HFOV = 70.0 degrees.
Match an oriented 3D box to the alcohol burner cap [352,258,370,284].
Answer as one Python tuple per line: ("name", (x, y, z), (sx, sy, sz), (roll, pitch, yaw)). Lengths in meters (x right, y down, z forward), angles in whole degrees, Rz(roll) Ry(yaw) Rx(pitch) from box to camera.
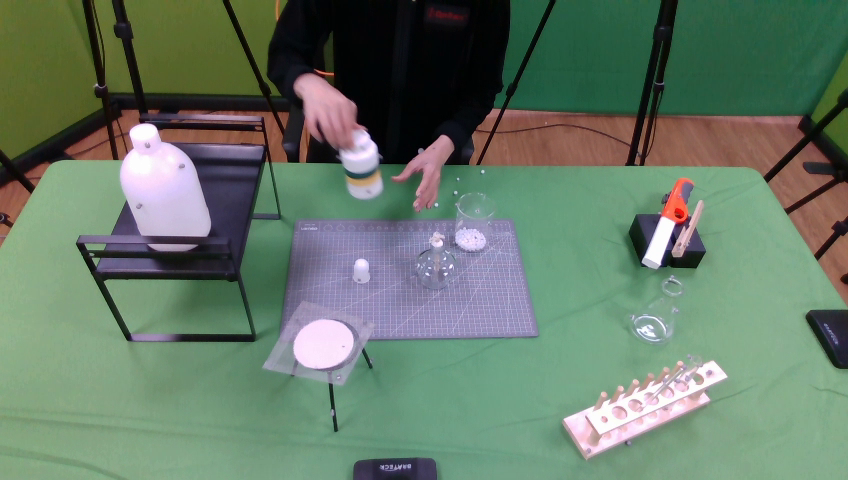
("alcohol burner cap", (-0.117, 0.055, 1.118), (0.034, 0.048, 0.033), (2, 46, -2))

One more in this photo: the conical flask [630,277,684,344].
("conical flask", (0.408, 0.117, 1.045), (0.075, 0.122, 0.075), (2, 46, -2))

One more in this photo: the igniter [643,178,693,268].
("igniter", (0.488, -0.042, 1.205), (0.057, 0.025, 0.276), (30, 51, 11))

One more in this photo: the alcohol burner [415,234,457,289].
("alcohol burner", (0.022, 0.033, 1.099), (0.078, 0.120, 0.077), (1, 47, -1))

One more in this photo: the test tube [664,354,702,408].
("test tube", (0.385, 0.215, 0.906), (0.017, 0.151, 0.017), (-1, 49, 1))

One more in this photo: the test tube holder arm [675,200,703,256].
("test tube holder arm", (0.523, -0.025, 1.190), (0.013, 0.015, 0.178), (1, 36, 41))

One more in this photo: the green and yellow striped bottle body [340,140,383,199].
("green and yellow striped bottle body", (-0.111, -0.134, 1.071), (0.063, 0.120, 0.063), (-3, 48, 3))

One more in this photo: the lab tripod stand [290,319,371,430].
("lab tripod stand", (-0.146, 0.193, 0.923), (0.148, 0.132, 0.147), (1, 47, -1))

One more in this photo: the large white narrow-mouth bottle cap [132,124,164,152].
("large white narrow-mouth bottle cap", (-0.371, -0.137, 0.813), (0.038, 0.024, 0.037), (3, 46, -3))

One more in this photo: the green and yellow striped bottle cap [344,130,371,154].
("green and yellow striped bottle cap", (-0.114, -0.168, 1.031), (0.045, 0.020, 0.045), (-3, 47, 3))

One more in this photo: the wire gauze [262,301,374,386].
("wire gauze", (-0.150, 0.148, 0.873), (0.121, 0.011, 0.124), (14, 46, 12))

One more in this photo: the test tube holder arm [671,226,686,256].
("test tube holder arm", (0.494, 0.001, 1.166), (0.010, 0.015, 0.087), (1, 36, 42))

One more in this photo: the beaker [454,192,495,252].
("beaker", (0.097, -0.034, 1.180), (0.074, 0.101, 0.084), (23, 48, 17))

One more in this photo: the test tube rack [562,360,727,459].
("test tube rack", (0.341, 0.247, 0.940), (0.243, 0.085, 0.066), (-16, 49, -18))

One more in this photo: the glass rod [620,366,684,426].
("glass rod", (0.322, 0.227, 0.866), (0.008, 0.200, 0.008), (5, 51, -7))

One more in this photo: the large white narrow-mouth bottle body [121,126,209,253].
("large white narrow-mouth bottle body", (-0.378, -0.077, 0.875), (0.102, 0.195, 0.101), (3, 46, -3))
